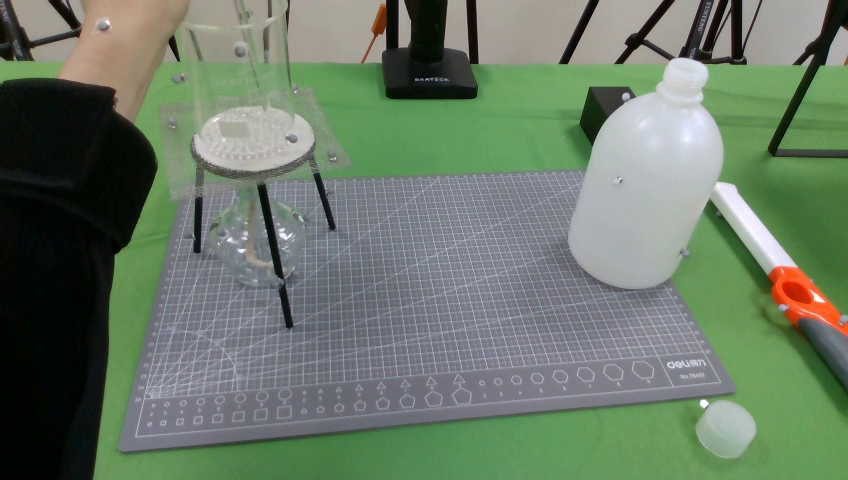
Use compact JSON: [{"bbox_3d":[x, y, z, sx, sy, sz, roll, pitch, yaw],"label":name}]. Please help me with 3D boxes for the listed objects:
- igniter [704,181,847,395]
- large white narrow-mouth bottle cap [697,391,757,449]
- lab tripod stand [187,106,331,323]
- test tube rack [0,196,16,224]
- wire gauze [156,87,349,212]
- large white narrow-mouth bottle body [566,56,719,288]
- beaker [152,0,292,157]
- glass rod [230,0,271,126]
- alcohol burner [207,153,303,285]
[{"bbox_3d":[0.327,0.035,0.550,0.057,0.025,0.273,6,41,-15],"label":"igniter"},{"bbox_3d":[0.220,0.130,0.440,0.038,0.024,0.037,2,42,-2],"label":"large white narrow-mouth bottle cap"},{"bbox_3d":[-0.130,-0.027,0.491,0.148,0.132,0.147,4,43,-3],"label":"lab tripod stand"},{"bbox_3d":[-0.481,-0.011,0.480,0.066,0.086,0.242,33,49,27],"label":"test tube rack"},{"bbox_3d":[-0.130,-0.076,0.448,0.122,0.011,0.123,-14,49,-17],"label":"wire gauze"},{"bbox_3d":[0.186,-0.057,0.509,0.102,0.196,0.101,2,42,-1],"label":"large white narrow-mouth bottle body"},{"bbox_3d":[-0.132,-0.115,0.417,0.084,0.101,0.073,-8,45,-13],"label":"beaker"},{"bbox_3d":[-0.126,-0.165,0.392,0.008,0.201,0.008,-3,38,3],"label":"glass rod"},{"bbox_3d":[-0.140,-0.021,0.498,0.078,0.120,0.077,4,41,-3],"label":"alcohol burner"}]
